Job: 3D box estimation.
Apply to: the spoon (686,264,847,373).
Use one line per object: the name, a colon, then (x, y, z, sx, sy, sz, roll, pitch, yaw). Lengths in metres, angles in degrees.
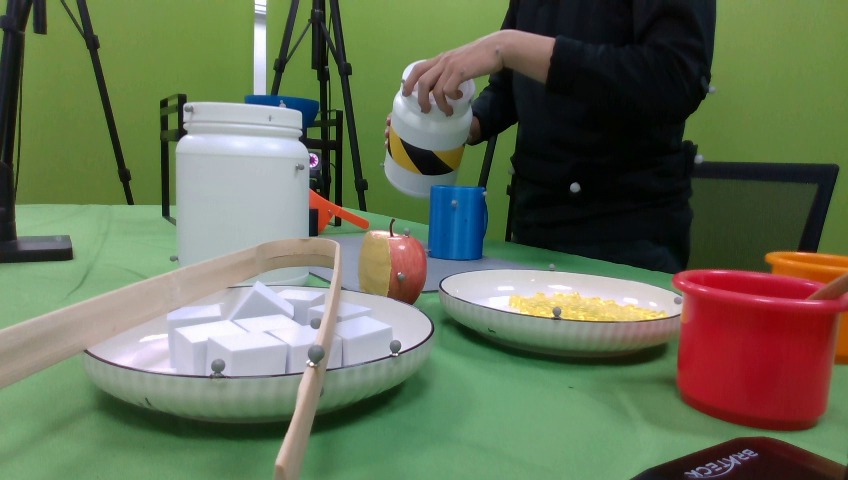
spoon: (0.215, 0.032, 0.328, 0.042, 0.021, 0.193, -3, -35, -26)

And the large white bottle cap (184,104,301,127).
large white bottle cap: (-0.184, -0.126, 0.618, 0.115, 0.018, 0.115, 2, 8, 0)

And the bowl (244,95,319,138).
bowl: (-0.293, -0.251, 1.249, 0.151, 0.077, 0.151, 2, 8, 0)

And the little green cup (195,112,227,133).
little green cup: (-0.412, -0.228, 1.171, 0.061, 0.038, 0.061, 3, 8, 0)

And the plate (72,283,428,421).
plate: (-0.102, 0.066, 0.381, 0.208, 0.039, 0.207, 2, 7, 0)

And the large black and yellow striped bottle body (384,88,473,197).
large black and yellow striped bottle body: (0.007, -0.178, 0.997, 0.131, 0.184, 0.130, 7, 45, -6)

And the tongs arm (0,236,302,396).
tongs arm: (-0.158, 0.038, 0.351, 0.028, 0.028, 0.388, -3, 8, 12)

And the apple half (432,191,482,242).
apple half: (0.048, -0.037, 0.905, 0.081, 0.081, 0.033, 2, 14, -1)

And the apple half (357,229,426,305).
apple half: (-0.026, 0.028, 0.570, 0.053, 0.074, 0.080, 3, 2, -28)

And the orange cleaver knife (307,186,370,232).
orange cleaver knife: (-0.197, -0.056, 1.141, 0.212, 0.077, 0.012, 29, 0, -35)

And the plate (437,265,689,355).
plate: (0.114, 0.057, 0.518, 0.209, 0.038, 0.209, 3, 8, 0)

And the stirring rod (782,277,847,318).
stirring rod: (0.344, 0.019, 0.461, 0.014, 0.006, 0.176, -13, -27, -30)

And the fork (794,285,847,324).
fork: (0.332, 0.018, 0.443, 0.028, 0.018, 0.207, -1, -36, -15)

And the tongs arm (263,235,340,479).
tongs arm: (-0.074, 0.039, 0.349, 0.051, 0.026, 0.384, -2, 10, -3)

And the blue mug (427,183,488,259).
blue mug: (0.059, -0.031, 0.907, 0.082, 0.106, 0.117, 9, 10, 42)

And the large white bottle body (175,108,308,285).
large white bottle body: (-0.188, -0.042, 0.630, 0.131, 0.184, 0.130, 2, 8, 0)

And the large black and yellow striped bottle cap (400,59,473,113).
large black and yellow striped bottle cap: (0.020, -0.239, 0.935, 0.115, 0.019, 0.114, 6, 51, -8)
